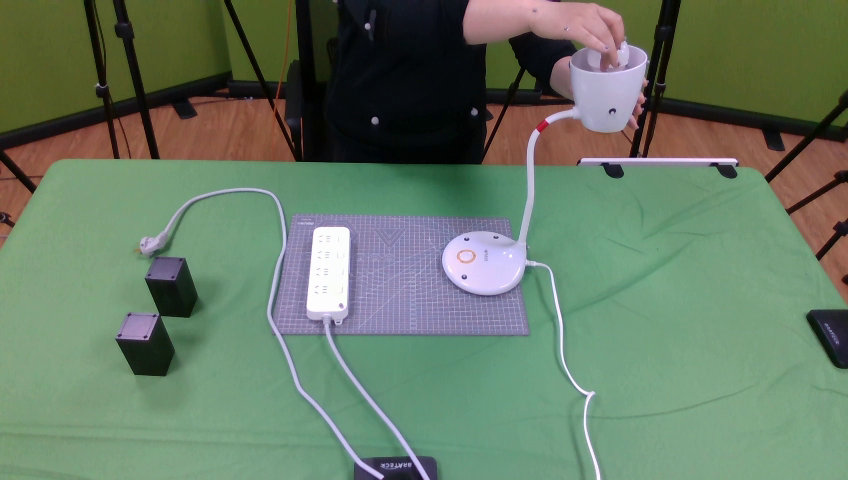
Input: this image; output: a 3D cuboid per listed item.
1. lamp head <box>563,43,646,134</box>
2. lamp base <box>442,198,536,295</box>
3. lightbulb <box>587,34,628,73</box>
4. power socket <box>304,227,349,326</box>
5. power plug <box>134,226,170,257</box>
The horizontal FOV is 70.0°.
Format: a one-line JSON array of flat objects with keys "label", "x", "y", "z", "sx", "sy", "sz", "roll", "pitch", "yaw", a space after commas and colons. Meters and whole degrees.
[{"label": "lamp head", "x": 0.273, "y": -0.225, "z": 0.930, "sx": 0.112, "sy": 0.123, "sz": 0.112, "roll": -2, "pitch": 38, "yaw": 1}, {"label": "lamp base", "x": 0.130, "y": -0.012, "z": 1.105, "sx": 0.179, "sy": 0.181, "sz": 0.159, "roll": -1, "pitch": 46, "yaw": -9}, {"label": "lightbulb", "x": 0.276, "y": -0.255, "z": 0.915, "sx": 0.059, "sy": 0.108, "sz": 0.059, "roll": -7, "pitch": 27, "yaw": 4}, {"label": "power socket", "x": -0.177, "y": 0.059, "z": 1.115, "sx": 0.072, "sy": 0.033, "sz": 0.225, "roll": -1, "pitch": 46, "yaw": -4}, {"label": "power plug", "x": -0.515, "y": 0.006, "z": 1.153, "sx": 0.052, "sy": 0.035, "sz": 0.072, "roll": -6, "pitch": 24, "yaw": 6}]
